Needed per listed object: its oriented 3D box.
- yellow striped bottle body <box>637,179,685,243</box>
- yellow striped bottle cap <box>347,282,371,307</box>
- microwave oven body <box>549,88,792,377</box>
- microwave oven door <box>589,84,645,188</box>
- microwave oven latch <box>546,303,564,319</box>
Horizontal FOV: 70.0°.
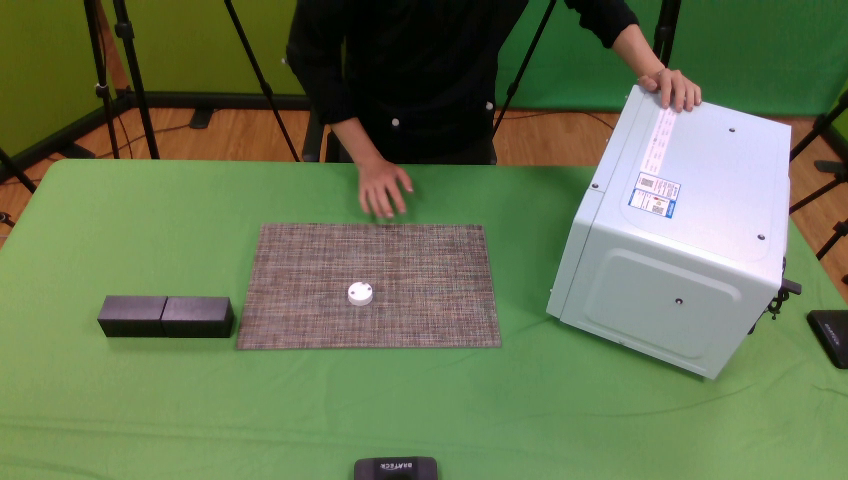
[{"bbox_3d":[0.443,-0.057,1.126,0.063,0.121,0.062,1,47,-1],"label":"yellow striped bottle body"},{"bbox_3d":[-0.117,0.098,1.093,0.044,0.019,0.044,3,45,-3],"label":"yellow striped bottle cap"},{"bbox_3d":[0.456,-0.028,1.088,0.325,0.261,0.440,20,47,16],"label":"microwave oven body"},{"bbox_3d":[0.341,-0.108,1.149,0.039,0.245,0.354,20,48,15],"label":"microwave oven door"},{"bbox_3d":[0.242,0.102,1.081,0.030,0.029,0.079,21,48,17],"label":"microwave oven latch"}]
